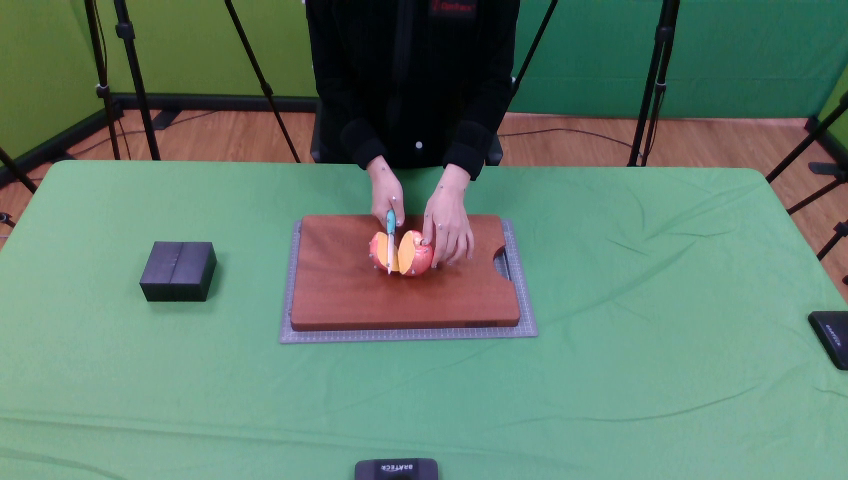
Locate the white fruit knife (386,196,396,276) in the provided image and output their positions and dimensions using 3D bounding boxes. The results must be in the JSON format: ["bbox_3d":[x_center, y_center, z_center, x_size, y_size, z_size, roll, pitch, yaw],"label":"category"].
[{"bbox_3d":[-0.063,-0.013,1.131,0.016,0.027,0.206,-17,44,16],"label":"white fruit knife"}]

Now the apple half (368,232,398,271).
[{"bbox_3d":[-0.078,0.028,1.105,0.033,0.082,0.081,-25,41,23],"label":"apple half"}]

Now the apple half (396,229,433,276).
[{"bbox_3d":[-0.013,0.027,1.096,0.053,0.075,0.080,11,42,-26],"label":"apple half"}]
